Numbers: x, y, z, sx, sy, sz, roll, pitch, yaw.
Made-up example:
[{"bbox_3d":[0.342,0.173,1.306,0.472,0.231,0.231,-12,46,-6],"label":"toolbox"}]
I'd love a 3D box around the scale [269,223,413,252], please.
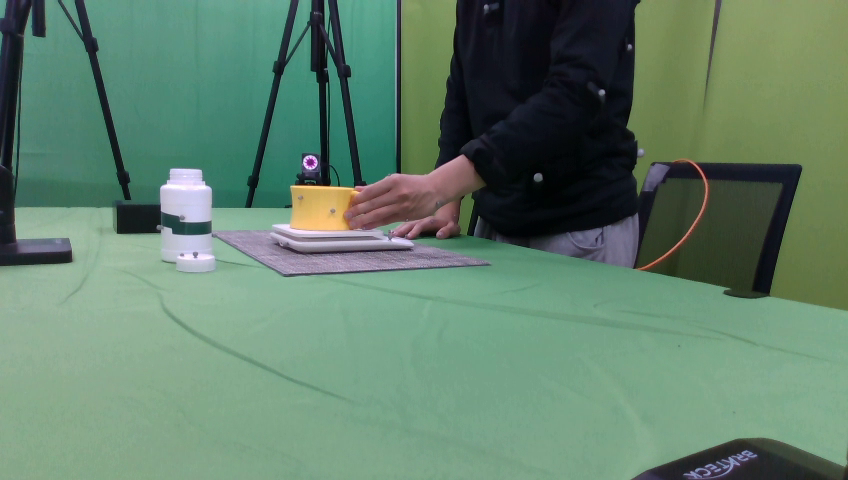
[{"bbox_3d":[-0.132,-0.007,0.965,0.202,0.031,0.148,-2,8,-31],"label":"scale"}]

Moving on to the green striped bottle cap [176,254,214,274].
[{"bbox_3d":[-0.279,0.029,0.741,0.044,0.020,0.044,6,4,0],"label":"green striped bottle cap"}]

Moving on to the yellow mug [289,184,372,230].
[{"bbox_3d":[-0.145,-0.052,0.944,0.131,0.064,0.100,4,7,9],"label":"yellow mug"}]

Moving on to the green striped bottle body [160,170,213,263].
[{"bbox_3d":[-0.312,-0.033,0.797,0.063,0.119,0.063,2,7,0],"label":"green striped bottle body"}]
